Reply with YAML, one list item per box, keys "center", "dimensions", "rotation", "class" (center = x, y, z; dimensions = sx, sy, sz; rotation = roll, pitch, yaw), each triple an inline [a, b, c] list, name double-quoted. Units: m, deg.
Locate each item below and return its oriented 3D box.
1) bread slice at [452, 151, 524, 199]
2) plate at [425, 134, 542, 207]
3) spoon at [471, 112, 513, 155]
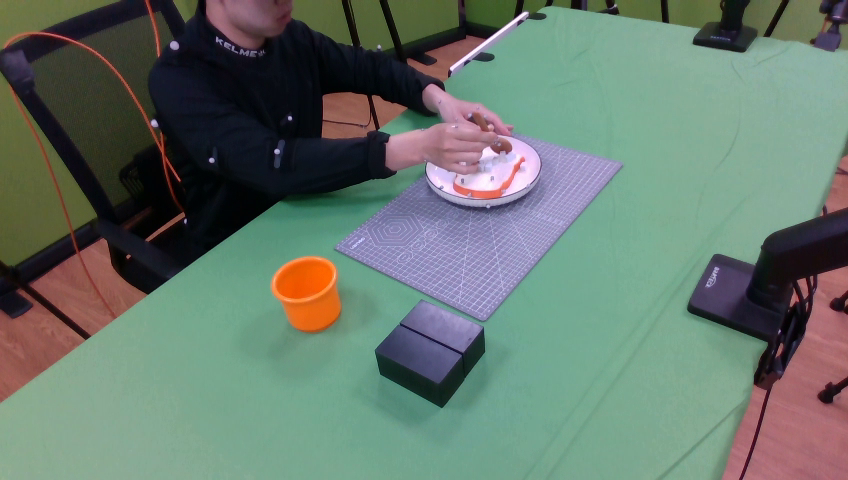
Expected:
- center: [0.111, -0.118, 1.079]
  dimensions: [0.104, 0.019, 0.131]
  rotation: [11, 42, 21]
  class: "bread slice"
- center: [0.106, -0.121, 1.079]
  dimensions: [0.209, 0.038, 0.208]
  rotation: [-4, 40, 4]
  class: "plate"
- center: [0.112, -0.176, 1.013]
  dimensions: [0.041, 0.195, 0.021]
  rotation: [1, 84, 20]
  class: "spoon"
